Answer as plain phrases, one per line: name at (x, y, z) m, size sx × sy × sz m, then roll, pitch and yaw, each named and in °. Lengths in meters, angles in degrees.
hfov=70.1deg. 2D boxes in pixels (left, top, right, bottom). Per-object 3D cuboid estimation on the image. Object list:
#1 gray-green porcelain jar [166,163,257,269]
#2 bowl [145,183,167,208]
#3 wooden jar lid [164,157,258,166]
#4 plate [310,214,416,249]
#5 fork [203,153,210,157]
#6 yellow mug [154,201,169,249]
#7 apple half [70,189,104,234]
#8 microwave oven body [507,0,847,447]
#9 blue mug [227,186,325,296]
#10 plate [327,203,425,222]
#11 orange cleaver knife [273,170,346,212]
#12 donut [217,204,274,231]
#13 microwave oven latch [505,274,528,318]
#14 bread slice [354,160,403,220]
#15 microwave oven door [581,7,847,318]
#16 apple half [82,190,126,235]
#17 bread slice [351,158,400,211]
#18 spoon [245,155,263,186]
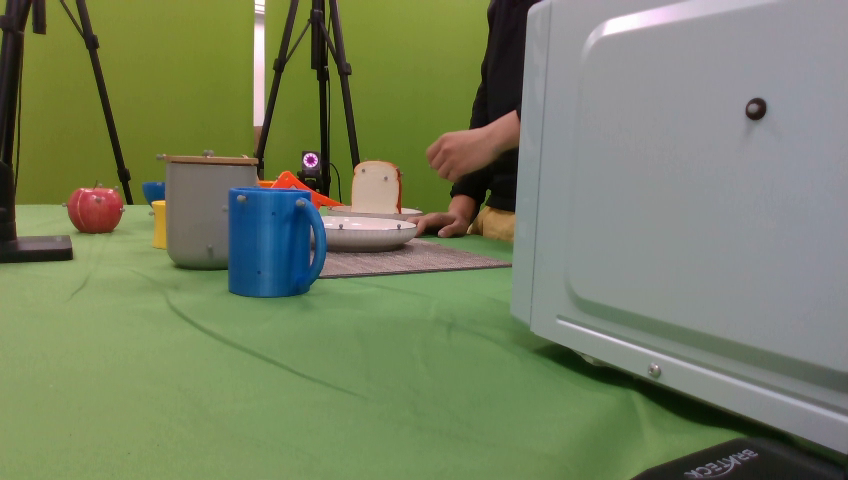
gray-green porcelain jar at (-0.263, -0.031, 0.754) m, size 0.106 × 0.126 × 0.106 m, roll 2°, pitch 7°, yaw 0°
bowl at (-0.459, -0.068, 1.175) m, size 0.151 × 0.077 × 0.151 m, roll 3°, pitch 7°, yaw 0°
wooden jar lid at (-0.261, -0.093, 0.746) m, size 0.108 × 0.020 × 0.108 m, roll 0°, pitch 9°, yaw 0°
plate at (-0.117, -0.014, 0.967) m, size 0.208 × 0.039 × 0.207 m, roll 2°, pitch 7°, yaw 0°
fork at (-0.480, -0.135, 1.411) m, size 0.028 × 0.018 × 0.207 m, roll 1°, pitch -34°, yaw -1°
yellow mug at (-0.338, -0.022, 0.899) m, size 0.130 × 0.064 × 0.100 m, roll 8°, pitch 9°, yaw 35°
apple half at (-0.552, -0.048, 1.010) m, size 0.053 × 0.074 × 0.081 m, roll -1°, pitch 9°, yaw 26°
microwave oven body at (0.331, -0.042, 0.425) m, size 0.444 × 0.260 × 0.324 m, roll -2°, pitch 8°, yaw -31°
blue mug at (-0.146, 0.000, 0.618) m, size 0.116 × 0.106 × 0.083 m, roll 7°, pitch 9°, yaw 32°
plate at (-0.102, -0.053, 1.299) m, size 0.209 × 0.038 × 0.209 m, roll 2°, pitch 8°, yaw 0°
orange cleaver knife at (-0.253, -0.089, 1.368) m, size 0.212 × 0.077 × 0.012 m, roll 26°, pitch -8°, yaw -42°
donut at (-0.317, -0.038, 1.080) m, size 0.099 × 0.048 × 0.099 m, roll 3°, pitch 7°, yaw 0°
microwave oven latch at (0.100, 0.041, 0.471) m, size 0.079 × 0.029 × 0.030 m, roll -1°, pitch 8°, yaw -28°
bread slice at (-0.096, -0.110, 1.324) m, size 0.105 × 0.131 × 0.019 m, roll 5°, pitch 2°, yaw 5°
microwave oven door at (0.295, -0.067, 0.569) m, size 0.358 × 0.243 × 0.039 m, roll -3°, pitch 8°, yaw -31°
apple half at (-0.516, -0.046, 0.994) m, size 0.032 × 0.081 × 0.081 m, roll 0°, pitch 6°, yaw 26°
bread slice at (-0.102, -0.104, 1.274) m, size 0.107 × 0.134 × 0.018 m, roll -1°, pitch 4°, yaw 4°
spoon at (-0.421, -0.150, 1.540) m, size 0.042 × 0.021 × 0.193 m, roll -5°, pitch 55°, yaw -37°
